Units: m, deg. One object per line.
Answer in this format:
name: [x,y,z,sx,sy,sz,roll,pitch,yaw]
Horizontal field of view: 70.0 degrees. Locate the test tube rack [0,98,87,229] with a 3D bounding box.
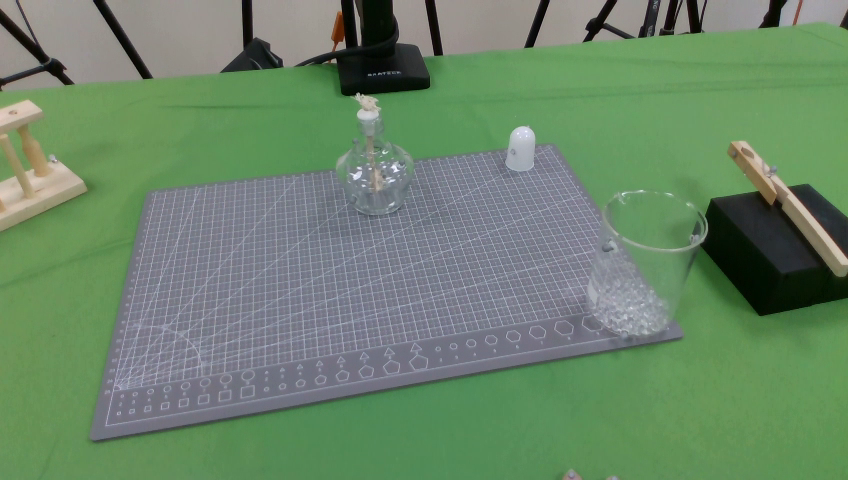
test tube rack: [-0.461,-0.039,0.561,0.066,0.086,0.242,30,50,30]

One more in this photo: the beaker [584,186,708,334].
beaker: [0.166,0.017,0.476,0.074,0.101,0.083,-14,42,-15]

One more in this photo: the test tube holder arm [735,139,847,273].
test tube holder arm: [0.316,-0.037,0.531,0.013,0.015,0.176,-11,42,0]

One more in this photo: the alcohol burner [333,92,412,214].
alcohol burner: [-0.051,-0.086,0.585,0.078,0.120,0.077,-2,40,2]

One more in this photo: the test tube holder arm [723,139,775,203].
test tube holder arm: [0.305,-0.065,0.564,0.010,0.015,0.087,-11,42,0]

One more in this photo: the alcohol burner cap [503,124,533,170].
alcohol burner cap: [0.103,-0.104,0.658,0.034,0.048,0.033,0,41,0]
